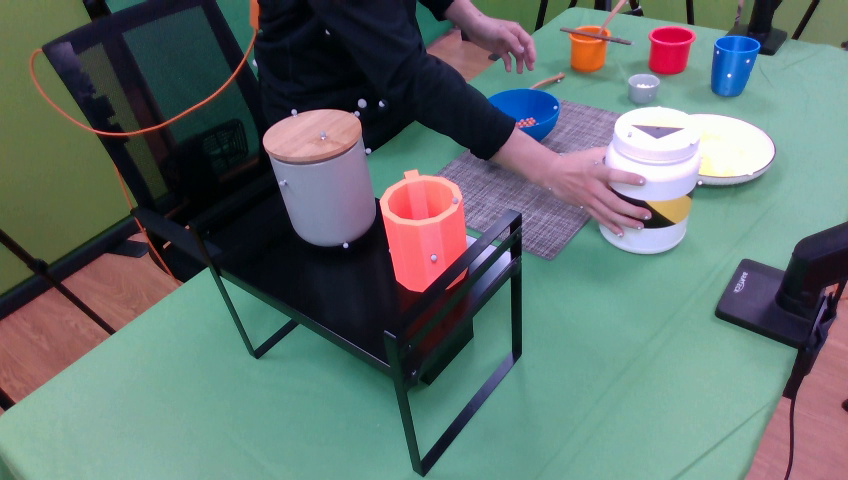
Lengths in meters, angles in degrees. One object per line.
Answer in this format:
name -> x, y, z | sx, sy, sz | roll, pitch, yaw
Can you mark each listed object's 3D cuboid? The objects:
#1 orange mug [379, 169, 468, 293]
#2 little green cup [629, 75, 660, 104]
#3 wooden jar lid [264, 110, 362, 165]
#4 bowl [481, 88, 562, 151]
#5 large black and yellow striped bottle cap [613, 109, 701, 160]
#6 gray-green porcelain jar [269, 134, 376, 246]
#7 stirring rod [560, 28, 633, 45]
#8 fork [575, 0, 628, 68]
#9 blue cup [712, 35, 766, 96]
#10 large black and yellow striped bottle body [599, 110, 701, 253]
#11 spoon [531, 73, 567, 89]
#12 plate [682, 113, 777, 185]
orange mug -> -0.002, -0.019, 0.665 | 0.083, 0.101, 0.125 | -12, 45, -4
little green cup -> 0.458, -0.314, 1.260 | 0.061, 0.039, 0.061 | -4, 40, 4
wooden jar lid -> -0.122, -0.112, 0.673 | 0.108, 0.021, 0.108 | -4, 37, 4
bowl -> 0.187, -0.223, 1.161 | 0.151, 0.077, 0.150 | -4, 40, 4
large black and yellow striped bottle cap -> 0.326, -0.150, 0.848 | 0.115, 0.019, 0.114 | -3, 40, 3
gray-green porcelain jar -> -0.115, -0.064, 0.715 | 0.106, 0.127, 0.105 | -4, 40, 4
stirring rod -> 0.381, -0.452, 1.345 | 0.174, 0.006, 0.014 | 26, 50, 33
fork -> 0.413, -0.481, 1.377 | 0.207, 0.019, 0.028 | -57, 43, 12
blue cup -> 0.627, -0.350, 1.227 | 0.092, 0.100, 0.092 | -4, 39, 4
large black and yellow striped bottle body -> 0.335, -0.087, 0.902 | 0.131, 0.185, 0.130 | -4, 41, 4
spoon -> 0.250, -0.337, 1.332 | 0.194, 0.022, 0.041 | -32, 32, -25
plate -> 0.506, -0.158, 1.073 | 0.209, 0.038, 0.208 | -5, 40, 4
